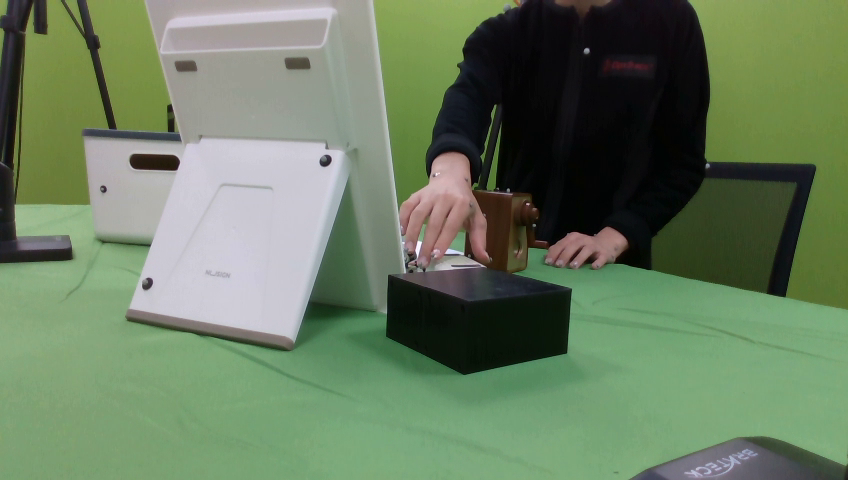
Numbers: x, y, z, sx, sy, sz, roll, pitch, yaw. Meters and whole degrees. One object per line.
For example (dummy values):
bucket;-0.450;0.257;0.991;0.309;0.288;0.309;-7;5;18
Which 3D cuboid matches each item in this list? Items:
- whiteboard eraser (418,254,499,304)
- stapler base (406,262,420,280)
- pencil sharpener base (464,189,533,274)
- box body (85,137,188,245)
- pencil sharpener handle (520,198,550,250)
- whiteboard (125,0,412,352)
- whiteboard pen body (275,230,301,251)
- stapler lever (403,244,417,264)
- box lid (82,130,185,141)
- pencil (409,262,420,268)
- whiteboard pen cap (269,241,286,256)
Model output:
whiteboard eraser;0.033;0.040;0.631;0.056;0.042;0.112;3;6;-15
stapler base;-0.069;0.027;0.759;0.130;0.024;0.041;9;12;23
pencil sharpener base;0.102;-0.012;0.812;0.076;0.107;0.061;9;9;36
box body;-0.340;-0.088;1.022;0.254;0.160;0.364;4;7;11
pencil sharpener handle;0.147;-0.019;0.785;0.030;0.068;0.036;9;26;36
whiteboard;-0.151;-0.050;0.471;0.216;0.305;0.144;6;27;24
whiteboard pen body;-0.203;0.002;0.894;0.017;0.017;0.140;2;9;-1
stapler lever;-0.066;0.003;0.755;0.117;0.040;0.027;9;12;23
box lid;-0.337;-0.161;1.011;0.263;0.015;0.372;4;7;11
pencil;0.041;0.028;0.848;0.012;0.012;0.195;10;10;43
whiteboard pen cap;-0.202;0.012;0.836;0.018;0.018;0.033;2;9;-1
